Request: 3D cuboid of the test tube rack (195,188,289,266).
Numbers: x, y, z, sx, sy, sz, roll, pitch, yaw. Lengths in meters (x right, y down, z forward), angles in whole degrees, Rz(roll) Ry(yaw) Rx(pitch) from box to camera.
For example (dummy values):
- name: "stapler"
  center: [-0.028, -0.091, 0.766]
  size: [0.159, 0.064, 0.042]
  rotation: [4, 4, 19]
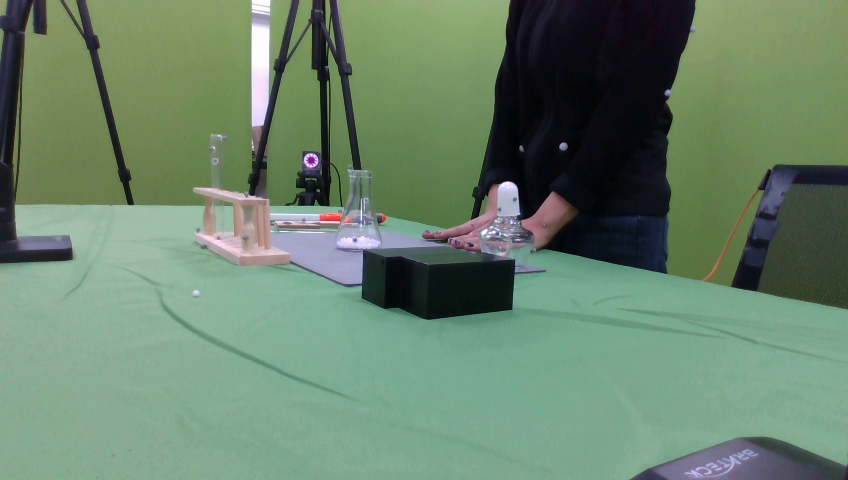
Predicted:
- name: "test tube rack"
  center: [-0.266, -0.025, 0.864]
  size: [0.067, 0.085, 0.241]
  rotation: [-2, 9, -33]

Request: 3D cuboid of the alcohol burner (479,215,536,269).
- name: "alcohol burner"
  center: [0.114, -0.021, 0.816]
  size: [0.078, 0.119, 0.078]
  rotation: [2, 9, 0]

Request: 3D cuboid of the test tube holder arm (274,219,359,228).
- name: "test tube holder arm"
  center: [-0.206, -0.032, 1.176]
  size: [0.179, 0.015, 0.013]
  rotation: [-4, 45, -39]

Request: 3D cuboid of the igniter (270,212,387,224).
- name: "igniter"
  center: [-0.213, -0.048, 1.278]
  size: [0.278, 0.025, 0.057]
  rotation: [-1, -2, -25]

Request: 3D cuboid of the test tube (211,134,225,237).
- name: "test tube"
  center: [-0.300, -0.078, 0.881]
  size: [0.017, 0.150, 0.017]
  rotation: [3, 12, 0]

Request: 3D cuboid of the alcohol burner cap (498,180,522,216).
- name: "alcohol burner cap"
  center: [0.114, -0.056, 0.810]
  size: [0.034, 0.048, 0.034]
  rotation: [-5, 12, 1]

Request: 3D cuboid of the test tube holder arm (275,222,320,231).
- name: "test tube holder arm"
  center: [-0.238, -0.026, 1.144]
  size: [0.088, 0.015, 0.010]
  rotation: [-3, 45, -39]

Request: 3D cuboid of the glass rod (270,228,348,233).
- name: "glass rod"
  center: [-0.234, -0.017, 1.104]
  size: [0.201, 0.008, 0.008]
  rotation: [1, 7, -26]

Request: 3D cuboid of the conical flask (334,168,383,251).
- name: "conical flask"
  center: [-0.098, -0.047, 0.920]
  size: [0.075, 0.122, 0.075]
  rotation: [3, 7, 0]
